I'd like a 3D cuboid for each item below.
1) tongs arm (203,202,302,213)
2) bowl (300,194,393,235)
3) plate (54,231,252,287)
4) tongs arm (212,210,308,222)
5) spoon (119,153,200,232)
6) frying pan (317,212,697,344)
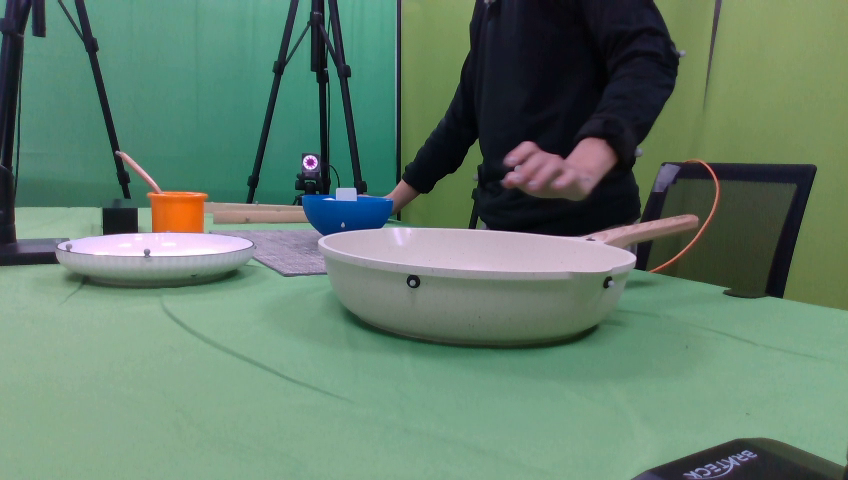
[{"bbox_3d":[-0.311,-0.069,1.417,0.387,0.026,0.050,0,8,-24],"label":"tongs arm"},{"bbox_3d":[-0.128,-0.034,0.995,0.151,0.077,0.151,2,7,0],"label":"bowl"},{"bbox_3d":[-0.309,0.020,0.705,0.208,0.039,0.207,3,7,0],"label":"plate"},{"bbox_3d":[-0.275,-0.056,1.347,0.390,0.028,0.028,-2,6,-36],"label":"tongs arm"},{"bbox_3d":[-0.439,-0.077,1.000,0.021,0.193,0.042,-43,-7,22],"label":"spoon"},{"bbox_3d":[0.133,0.013,0.629,0.490,0.102,0.305,-12,14,-31],"label":"frying pan"}]
